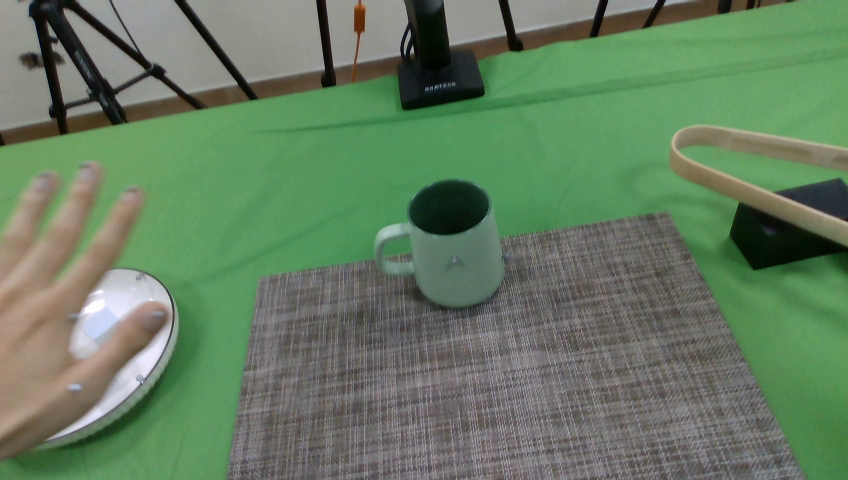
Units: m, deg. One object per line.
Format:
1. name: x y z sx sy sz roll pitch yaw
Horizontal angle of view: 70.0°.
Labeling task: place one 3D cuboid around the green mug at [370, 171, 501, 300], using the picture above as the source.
1. green mug: 0.010 0.000 0.587 0.125 0.106 0.091 -10 47 2

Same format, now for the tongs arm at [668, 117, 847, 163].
1. tongs arm: 0.423 -0.062 0.553 0.382 0.027 0.050 20 58 27

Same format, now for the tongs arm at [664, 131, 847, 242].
1. tongs arm: 0.377 -0.010 0.517 0.384 0.028 0.028 33 68 33

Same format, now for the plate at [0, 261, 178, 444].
1. plate: -0.347 0.110 0.609 0.209 0.038 0.207 -5 47 6
